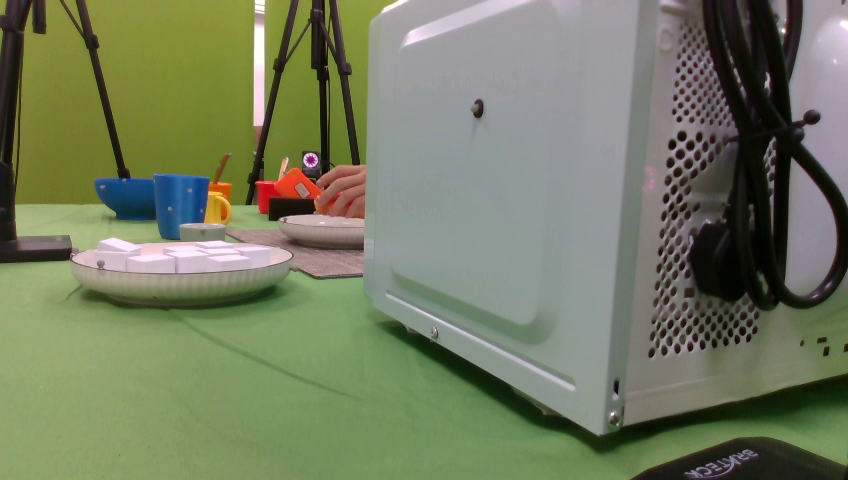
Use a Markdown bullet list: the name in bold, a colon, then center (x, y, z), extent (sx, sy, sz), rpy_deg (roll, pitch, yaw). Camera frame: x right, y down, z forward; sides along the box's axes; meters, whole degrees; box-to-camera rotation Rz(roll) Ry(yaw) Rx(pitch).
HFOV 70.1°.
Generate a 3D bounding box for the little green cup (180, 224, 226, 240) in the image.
- **little green cup**: center (-0.309, -0.001, 0.846), extent (0.061, 0.038, 0.061), rpy_deg (2, 8, 0)

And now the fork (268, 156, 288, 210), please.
- **fork**: center (-0.360, -0.144, 1.508), extent (0.028, 0.018, 0.207), rpy_deg (1, 49, 0)

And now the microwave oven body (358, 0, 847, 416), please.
- **microwave oven body**: center (0.211, -0.047, 0.474), extent (0.444, 0.260, 0.324), rpy_deg (-1, 7, -28)

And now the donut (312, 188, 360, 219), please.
- **donut**: center (-0.135, -0.060, 0.994), extent (0.099, 0.048, 0.099), rpy_deg (7, 7, 0)

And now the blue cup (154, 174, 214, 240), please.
- **blue cup**: center (-0.391, -0.053, 0.978), extent (0.093, 0.100, 0.092), rpy_deg (3, 6, 0)

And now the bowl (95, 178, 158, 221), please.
- **bowl**: center (-0.576, -0.081, 1.217), extent (0.151, 0.077, 0.151), rpy_deg (3, 8, 0)

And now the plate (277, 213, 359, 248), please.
- **plate**: center (-0.135, -0.017, 0.992), extent (0.209, 0.038, 0.209), rpy_deg (2, 7, 0)

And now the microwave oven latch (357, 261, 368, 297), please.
- **microwave oven latch**: center (-0.019, 0.033, 0.531), extent (0.079, 0.029, 0.030), rpy_deg (-1, 7, -27)

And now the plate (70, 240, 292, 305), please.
- **plate**: center (-0.242, 0.031, 0.618), extent (0.208, 0.039, 0.207), rpy_deg (2, 8, 0)

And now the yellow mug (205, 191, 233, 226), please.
- **yellow mug**: center (-0.415, -0.057, 1.131), extent (0.130, 0.064, 0.100), rpy_deg (6, 8, 16)

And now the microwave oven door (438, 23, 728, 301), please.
- **microwave oven door**: center (0.181, -0.072, 0.621), extent (0.358, 0.243, 0.039), rpy_deg (-2, 8, -29)

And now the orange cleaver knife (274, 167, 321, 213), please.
- **orange cleaver knife**: center (-0.238, -0.091, 1.381), extent (0.212, 0.077, 0.012), rpy_deg (31, 0, -19)

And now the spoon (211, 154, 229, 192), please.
- **spoon**: center (-0.431, -0.115, 1.253), extent (0.042, 0.193, 0.021), rpy_deg (-3, 54, -33)
